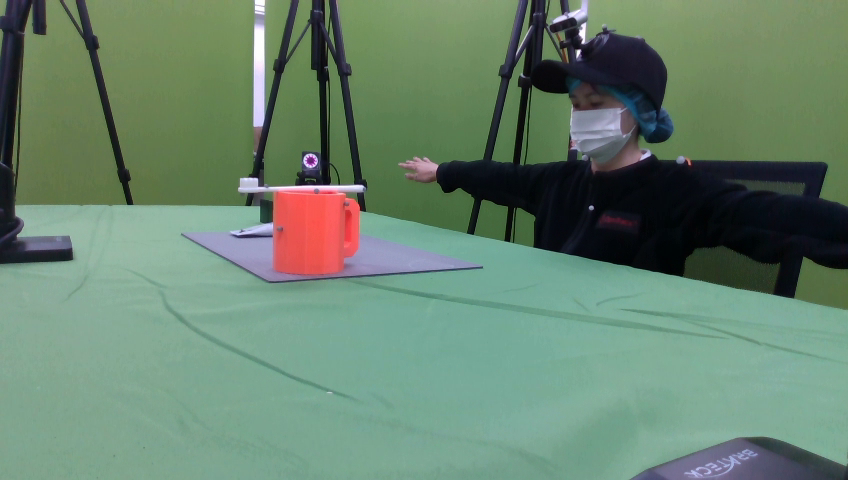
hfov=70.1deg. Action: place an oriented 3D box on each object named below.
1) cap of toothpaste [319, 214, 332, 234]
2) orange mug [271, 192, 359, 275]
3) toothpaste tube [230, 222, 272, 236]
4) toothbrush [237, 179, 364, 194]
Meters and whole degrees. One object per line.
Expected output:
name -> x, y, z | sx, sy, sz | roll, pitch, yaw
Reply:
cap of toothpaste -> -0.180, -0.029, 1.097 | 0.011, 0.037, 0.037 | -3, 9, -40
orange mug -> -0.131, -0.013, 0.754 | 0.083, 0.101, 0.127 | 8, 13, 38
toothpaste tube -> -0.250, -0.021, 1.056 | 0.166, 0.034, 0.055 | -6, 5, -32
toothbrush -> -0.144, -0.064, 0.737 | 0.014, 0.016, 0.183 | 4, 6, 43
